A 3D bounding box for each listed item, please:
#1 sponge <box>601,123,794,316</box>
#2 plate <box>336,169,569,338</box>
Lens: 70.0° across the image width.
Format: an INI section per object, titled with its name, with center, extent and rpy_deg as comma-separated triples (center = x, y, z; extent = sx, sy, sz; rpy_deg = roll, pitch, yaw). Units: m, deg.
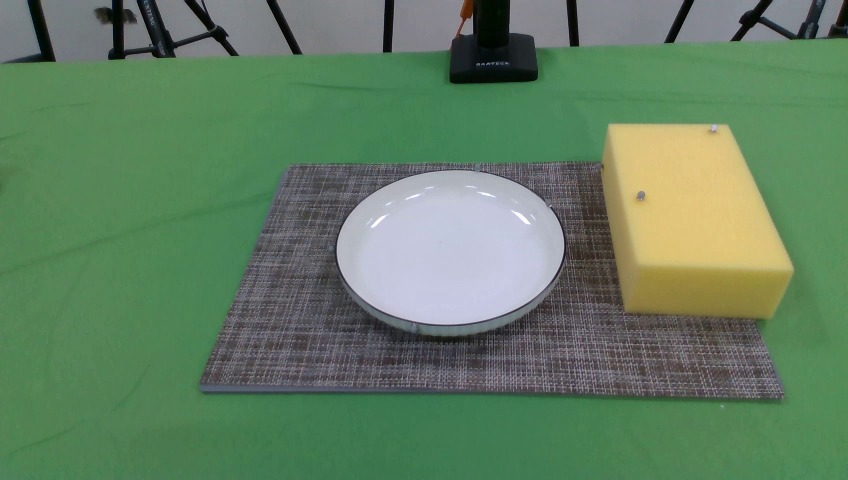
[sponge]
center = 0.236, -0.028, 0.558
extent = 0.118, 0.061, 0.205
rpy_deg = 1, 43, 6
[plate]
center = 0.025, 0.010, 0.553
extent = 0.207, 0.039, 0.205
rpy_deg = -2, 43, 3
